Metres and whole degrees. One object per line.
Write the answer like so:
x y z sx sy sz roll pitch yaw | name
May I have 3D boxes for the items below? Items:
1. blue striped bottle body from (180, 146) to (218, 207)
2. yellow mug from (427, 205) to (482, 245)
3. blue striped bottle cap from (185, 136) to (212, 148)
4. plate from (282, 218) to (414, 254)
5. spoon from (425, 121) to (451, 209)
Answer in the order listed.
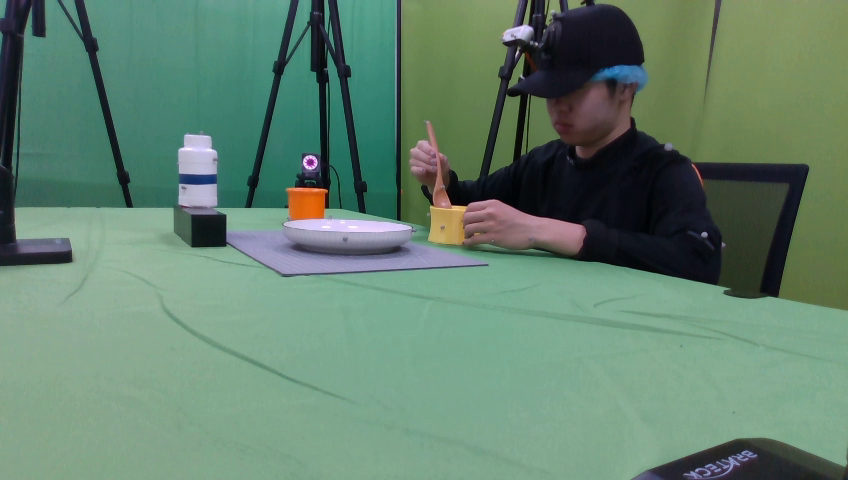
-0.392 -0.119 1.053 0.063 0.120 0.063 2 8 0 | blue striped bottle body
0.063 -0.028 1.111 0.100 0.064 0.130 0 8 -21 | yellow mug
-0.390 -0.169 1.047 0.044 0.020 0.044 4 10 0 | blue striped bottle cap
-0.121 -0.007 0.971 0.208 0.039 0.207 2 7 0 | plate
0.025 -0.139 1.149 0.042 0.193 0.021 2 -15 -37 | spoon
